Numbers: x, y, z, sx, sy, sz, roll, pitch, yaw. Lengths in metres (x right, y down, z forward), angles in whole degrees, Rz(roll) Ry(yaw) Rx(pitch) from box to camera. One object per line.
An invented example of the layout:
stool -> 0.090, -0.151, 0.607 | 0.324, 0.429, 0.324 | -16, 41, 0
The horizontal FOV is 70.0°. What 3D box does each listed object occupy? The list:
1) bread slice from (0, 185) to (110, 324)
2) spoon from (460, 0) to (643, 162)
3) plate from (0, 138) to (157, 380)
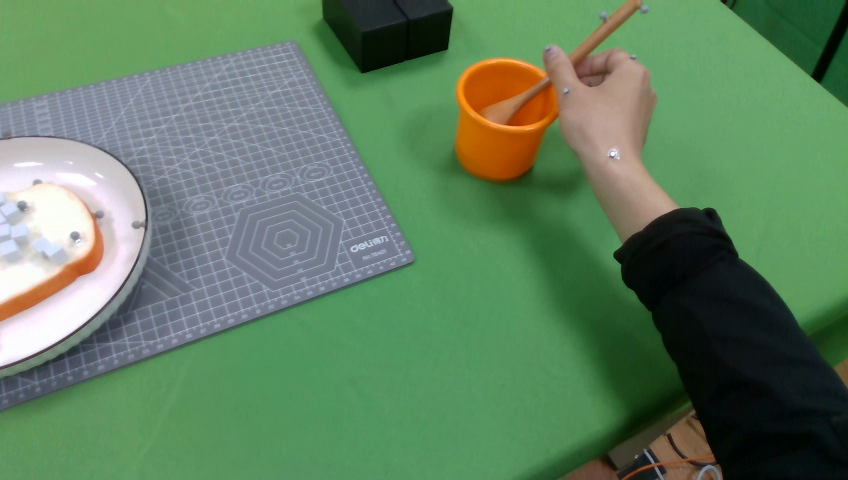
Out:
bread slice -> -0.308, 0.010, 0.448 | 0.131, 0.019, 0.104 | -33, 65, -24
spoon -> 0.104, -0.136, 0.523 | 0.194, 0.022, 0.041 | -37, 56, 18
plate -> -0.303, 0.012, 0.444 | 0.209, 0.038, 0.207 | 3, 55, -4
